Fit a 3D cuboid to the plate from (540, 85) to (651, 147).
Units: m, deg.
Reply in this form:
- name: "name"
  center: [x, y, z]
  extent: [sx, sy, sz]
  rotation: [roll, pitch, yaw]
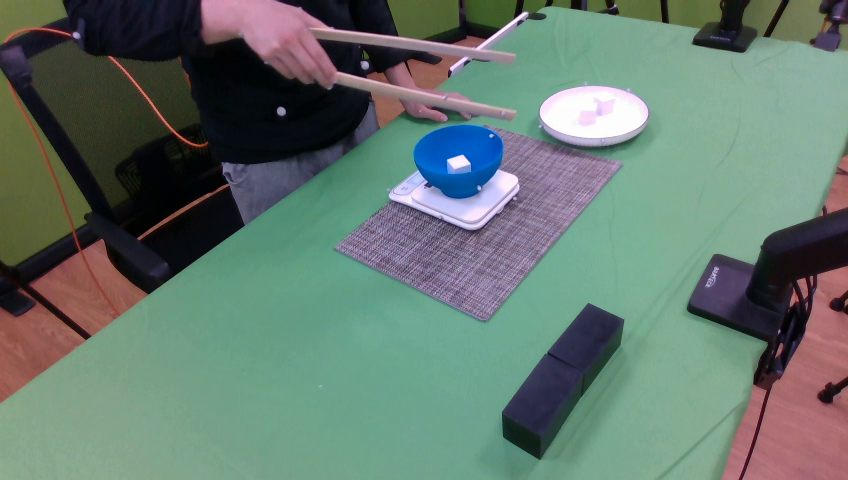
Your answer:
- name: "plate"
  center: [0.333, -0.239, 1.186]
  extent: [0.207, 0.039, 0.206]
  rotation: [-4, 41, 4]

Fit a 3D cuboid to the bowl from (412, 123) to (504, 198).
- name: "bowl"
  center: [0.059, -0.123, 1.007]
  extent: [0.151, 0.077, 0.150]
  rotation: [-5, 41, 5]

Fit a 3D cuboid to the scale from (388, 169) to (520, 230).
- name: "scale"
  center: [0.050, -0.090, 1.052]
  extent: [0.199, 0.032, 0.149]
  rotation: [24, 49, 31]

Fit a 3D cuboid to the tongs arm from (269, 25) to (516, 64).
- name: "tongs arm"
  center: [-0.041, -0.300, 0.940]
  extent: [0.389, 0.027, 0.028]
  rotation: [1, 76, -15]

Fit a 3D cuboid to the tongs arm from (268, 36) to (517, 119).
- name: "tongs arm"
  center: [-0.043, -0.243, 0.919]
  extent: [0.386, 0.026, 0.050]
  rotation: [8, 71, -12]
